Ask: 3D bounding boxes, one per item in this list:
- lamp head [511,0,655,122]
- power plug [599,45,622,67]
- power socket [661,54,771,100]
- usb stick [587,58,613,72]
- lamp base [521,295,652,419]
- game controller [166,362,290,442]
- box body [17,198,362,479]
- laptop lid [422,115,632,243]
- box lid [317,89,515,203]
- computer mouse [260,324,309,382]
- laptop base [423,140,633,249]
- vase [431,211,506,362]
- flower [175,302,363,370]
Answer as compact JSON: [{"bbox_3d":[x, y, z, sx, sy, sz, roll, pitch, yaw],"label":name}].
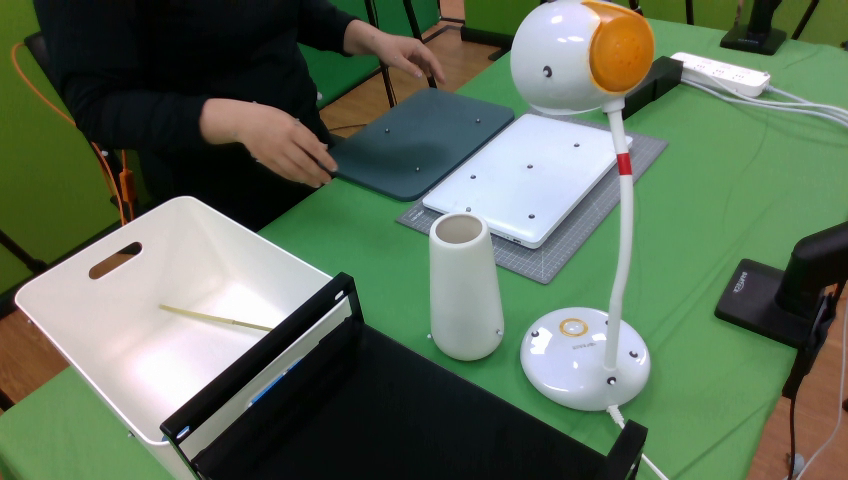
[{"bbox_3d":[0.155,-0.168,0.564,0.113,0.113,0.122,-18,23,-12],"label":"lamp head"},{"bbox_3d":[0.437,-0.422,1.412,0.053,0.035,0.072,-19,74,-46],"label":"power plug"},{"bbox_3d":[0.615,-0.348,1.285,0.072,0.033,0.225,-36,48,-28],"label":"power socket"},{"bbox_3d":[0.401,-0.399,1.381,0.059,0.027,0.021,0,48,21],"label":"usb stick"},{"bbox_3d":[0.201,0.095,0.710,0.161,0.181,0.177,-16,43,-10],"label":"lamp base"},{"bbox_3d":[-0.233,0.210,0.737,0.096,0.052,0.155,27,52,32],"label":"game controller"},{"bbox_3d":[-0.285,0.123,0.766,0.361,0.161,0.255,25,49,33],"label":"box body"},{"bbox_3d":[0.190,-0.126,1.081,0.239,0.013,0.358,23,48,34],"label":"laptop lid"},{"bbox_3d":[-0.009,-0.207,1.236,0.261,0.015,0.372,23,49,32],"label":"box lid"},{"bbox_3d":[-0.158,0.155,0.793,0.116,0.041,0.063,29,49,24],"label":"computer mouse"},{"bbox_3d":[0.194,-0.117,1.087,0.233,0.023,0.355,21,47,34],"label":"laptop base"},{"bbox_3d":[0.054,0.062,0.757,0.098,0.201,0.097,-3,40,3],"label":"vase"},{"bbox_3d":[-0.233,0.119,0.832,0.359,0.038,0.044,8,86,33],"label":"flower"}]
